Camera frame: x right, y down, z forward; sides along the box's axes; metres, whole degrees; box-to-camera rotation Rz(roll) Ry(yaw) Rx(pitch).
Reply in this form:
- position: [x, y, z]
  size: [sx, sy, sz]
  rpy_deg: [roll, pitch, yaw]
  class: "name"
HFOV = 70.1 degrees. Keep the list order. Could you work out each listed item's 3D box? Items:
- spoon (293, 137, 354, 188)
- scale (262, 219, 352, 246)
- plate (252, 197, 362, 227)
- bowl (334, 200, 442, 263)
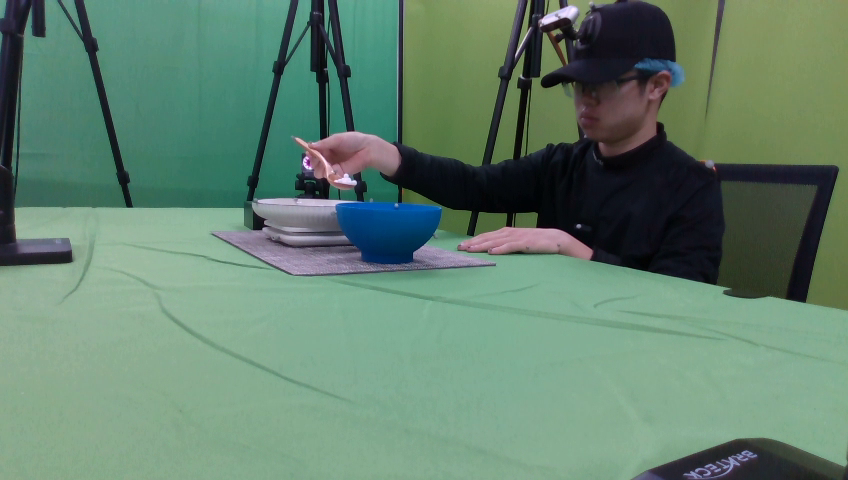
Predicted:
- position: [-0.173, -0.133, 1.014]
  size: [0.042, 0.021, 0.193]
  rpy_deg: [5, 30, -42]
  class: "spoon"
- position: [-0.160, -0.015, 1.027]
  size: [0.202, 0.031, 0.148]
  rpy_deg: [-2, 8, -32]
  class: "scale"
- position: [-0.178, -0.047, 1.012]
  size: [0.209, 0.038, 0.209]
  rpy_deg: [2, 6, 0]
  class: "plate"
- position: [-0.051, -0.012, 0.849]
  size: [0.151, 0.077, 0.151]
  rpy_deg: [2, 7, 0]
  class: "bowl"
